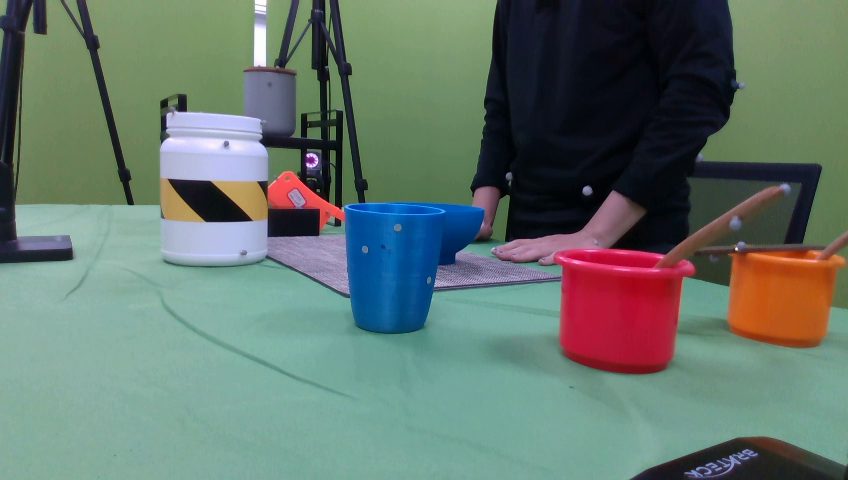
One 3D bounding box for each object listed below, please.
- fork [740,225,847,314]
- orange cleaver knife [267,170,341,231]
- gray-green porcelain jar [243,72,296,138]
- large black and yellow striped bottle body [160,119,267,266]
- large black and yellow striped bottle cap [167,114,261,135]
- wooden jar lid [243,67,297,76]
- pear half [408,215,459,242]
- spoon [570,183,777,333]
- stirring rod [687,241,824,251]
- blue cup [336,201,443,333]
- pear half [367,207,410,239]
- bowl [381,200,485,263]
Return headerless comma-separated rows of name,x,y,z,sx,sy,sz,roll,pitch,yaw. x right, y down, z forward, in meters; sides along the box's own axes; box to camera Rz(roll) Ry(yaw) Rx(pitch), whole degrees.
fork,0.323,0.013,0.485,0.028,0.018,0.207,8,-37,-6
orange cleaver knife,-0.201,-0.057,1.136,0.212,0.077,0.012,31,-3,-31
gray-green porcelain jar,-0.322,-0.279,1.263,0.106,0.126,0.106,3,8,0
large black and yellow striped bottle body,-0.272,-0.065,0.789,0.131,0.184,0.130,2,7,0
large black and yellow striped bottle cap,-0.269,-0.148,0.779,0.115,0.019,0.115,4,8,0
wooden jar lid,-0.319,-0.342,1.254,0.108,0.020,0.108,3,8,0
pear half,0.011,-0.019,0.848,0.070,0.031,0.088,5,12,32
spoon,0.161,0.020,0.413,0.042,0.021,0.193,1,-36,-24
stirring rod,0.289,0.005,0.525,0.177,0.006,0.014,-1,5,-26
blue cup,-0.029,0.021,0.508,0.093,0.100,0.092,3,9,0
pear half,-0.067,-0.027,1.057,0.076,0.056,0.110,-1,9,19
bowl,0.008,-0.012,0.842,0.151,0.077,0.151,2,8,0
